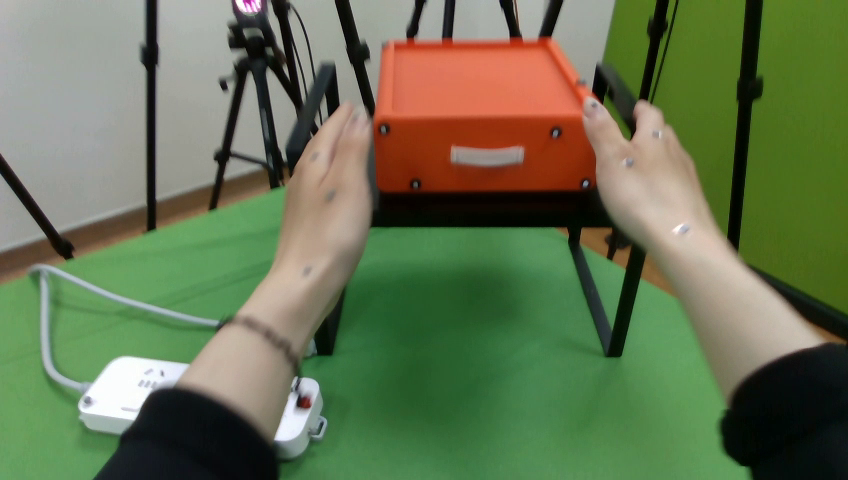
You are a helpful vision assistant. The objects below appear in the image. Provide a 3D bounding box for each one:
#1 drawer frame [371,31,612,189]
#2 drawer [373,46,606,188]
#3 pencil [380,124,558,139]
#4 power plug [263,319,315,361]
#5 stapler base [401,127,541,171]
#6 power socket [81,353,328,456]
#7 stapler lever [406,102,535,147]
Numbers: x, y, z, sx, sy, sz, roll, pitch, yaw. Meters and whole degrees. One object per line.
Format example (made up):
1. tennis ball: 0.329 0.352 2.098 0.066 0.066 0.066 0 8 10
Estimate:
1. drawer frame: 0.053 -0.134 0.599 0.202 0.083 0.211 -2 35 -2
2. drawer: 0.053 -0.131 0.597 0.194 0.074 0.209 -1 34 -1
3. pencil: 0.039 -0.107 0.598 0.193 0.012 0.012 7 35 29
4. power plug: -0.143 0.108 0.626 0.072 0.035 0.052 -24 20 29
5. stapler base: 0.045 -0.090 0.572 0.130 0.024 0.041 7 33 13
6. power socket: -0.201 0.148 0.555 0.226 0.033 0.071 5 35 8
7. stapler lever: 0.043 -0.109 0.558 0.118 0.040 0.026 8 34 12
